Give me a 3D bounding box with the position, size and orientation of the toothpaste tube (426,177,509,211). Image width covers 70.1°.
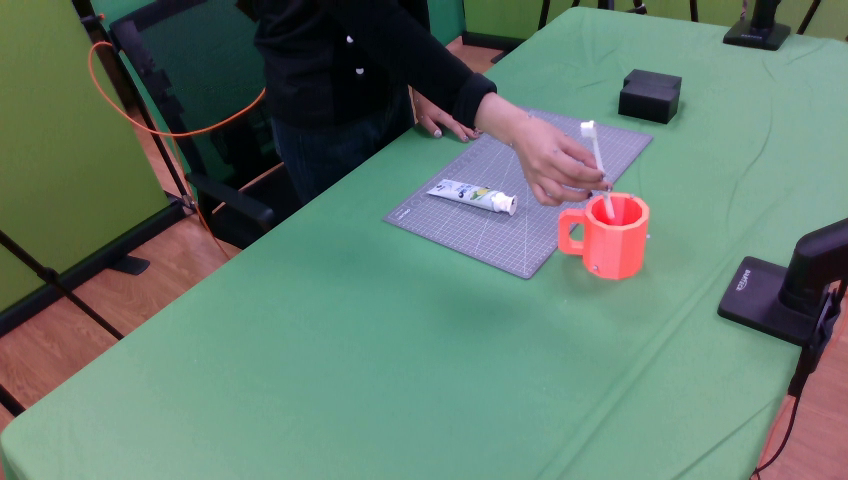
[{"bbox_3d":[0.083,-0.081,1.054,0.164,0.034,0.055,18,40,34],"label":"toothpaste tube"}]

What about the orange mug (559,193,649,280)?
[{"bbox_3d":[0.261,-0.008,0.884,0.126,0.101,0.083,9,43,14],"label":"orange mug"}]

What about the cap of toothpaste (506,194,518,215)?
[{"bbox_3d":[0.146,-0.059,1.008,0.011,0.037,0.037,14,46,22],"label":"cap of toothpaste"}]

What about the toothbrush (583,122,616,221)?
[{"bbox_3d":[0.234,-0.085,0.797,0.016,0.183,0.014,-7,49,23],"label":"toothbrush"}]
